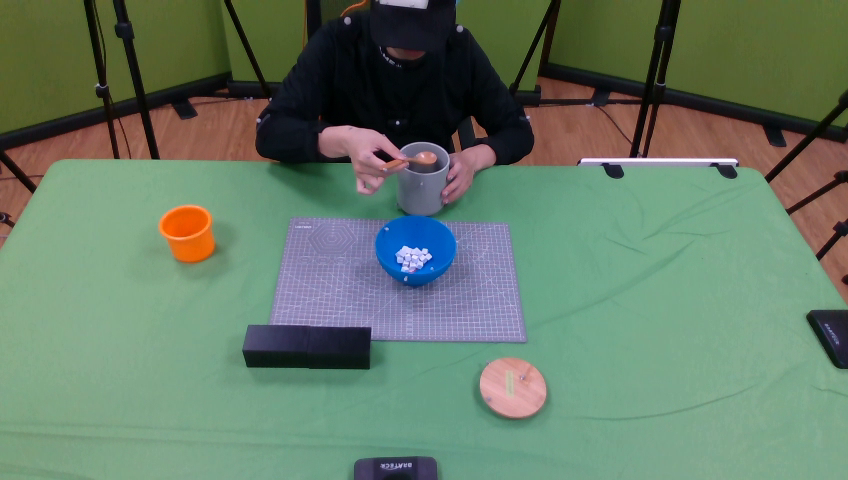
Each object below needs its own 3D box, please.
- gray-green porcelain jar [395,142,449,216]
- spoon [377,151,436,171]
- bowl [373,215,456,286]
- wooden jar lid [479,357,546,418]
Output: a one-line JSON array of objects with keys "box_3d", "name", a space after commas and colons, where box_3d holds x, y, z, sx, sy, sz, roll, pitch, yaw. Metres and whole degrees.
[{"box_3d": [-0.007, -0.120, 1.241, 0.106, 0.127, 0.105, 2, 46, -2], "name": "gray-green porcelain jar"}, {"box_3d": [-0.033, -0.148, 1.127, 0.041, 0.022, 0.194, 28, 23, 21], "name": "spoon"}, {"box_3d": [-0.019, 0.032, 1.122, 0.151, 0.077, 0.150, 2, 46, -2], "name": "bowl"}, {"box_3d": [0.142, 0.240, 0.979, 0.108, 0.021, 0.107, 1, 46, -1], "name": "wooden jar lid"}]
